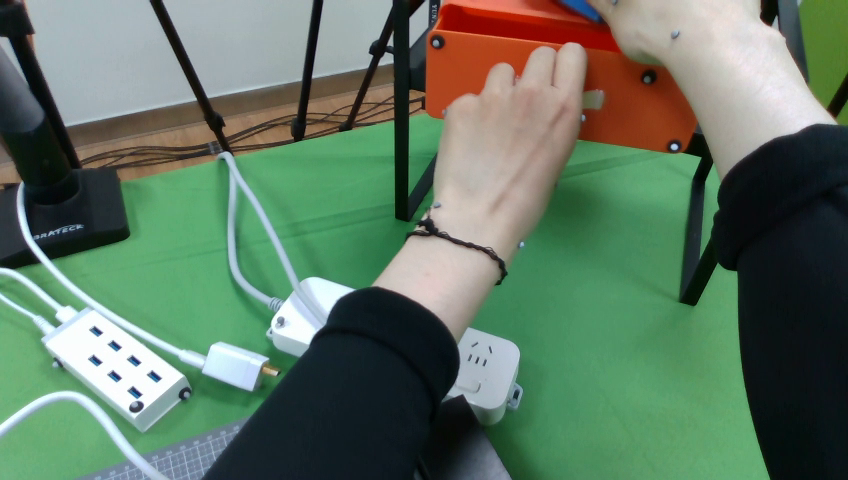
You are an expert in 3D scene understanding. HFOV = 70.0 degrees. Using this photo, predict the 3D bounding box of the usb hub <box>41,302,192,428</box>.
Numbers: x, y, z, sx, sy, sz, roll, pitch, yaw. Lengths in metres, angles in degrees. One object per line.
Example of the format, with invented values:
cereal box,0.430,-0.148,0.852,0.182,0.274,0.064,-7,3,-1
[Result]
usb hub,-0.254,0.100,0.497,0.124,0.025,0.049,27,49,22

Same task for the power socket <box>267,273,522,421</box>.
power socket,-0.026,0.087,0.517,0.226,0.033,0.072,17,46,14

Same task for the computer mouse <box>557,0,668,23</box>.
computer mouse,0.124,-0.196,0.449,0.063,0.041,0.116,-11,38,-22

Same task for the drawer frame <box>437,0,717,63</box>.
drawer frame,0.127,-0.202,0.528,0.201,0.083,0.212,9,45,6

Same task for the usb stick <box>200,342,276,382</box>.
usb stick,-0.151,0.101,0.498,0.059,0.021,0.027,13,86,-9

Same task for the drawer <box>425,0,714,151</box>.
drawer,0.117,-0.173,0.498,0.194,0.074,0.210,10,45,8
